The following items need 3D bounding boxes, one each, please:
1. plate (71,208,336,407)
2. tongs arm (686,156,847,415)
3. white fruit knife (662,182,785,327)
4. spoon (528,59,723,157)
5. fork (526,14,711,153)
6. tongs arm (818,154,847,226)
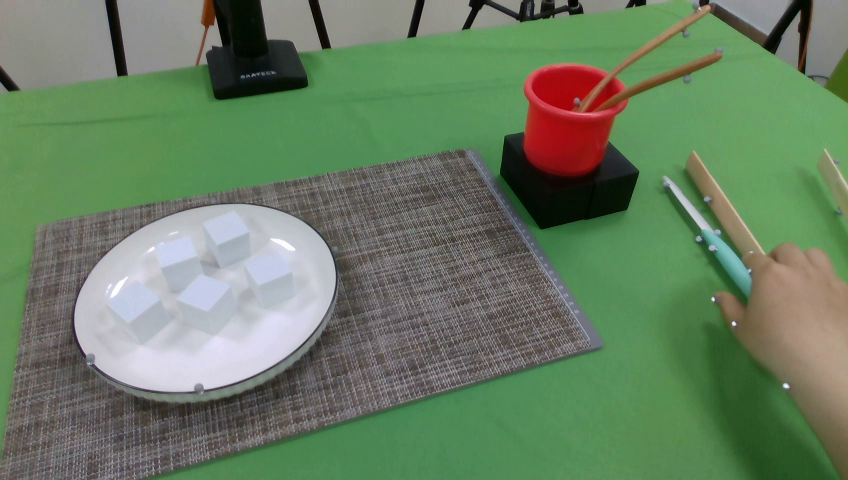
[{"bbox_3d":[-0.178,0.054,0.511,0.208,0.039,0.205,1,44,-1],"label":"plate"},{"bbox_3d":[0.327,0.045,0.551,0.028,0.028,0.383,-2,44,-8],"label":"tongs arm"},{"bbox_3d":[0.287,0.004,0.603,0.027,0.016,0.205,16,35,-28],"label":"white fruit knife"},{"bbox_3d":[0.174,-0.116,0.551,0.022,0.193,0.041,53,47,-9],"label":"spoon"},{"bbox_3d":[0.186,-0.149,0.588,0.207,0.019,0.028,-40,22,14],"label":"fork"},{"bbox_3d":[0.407,0.044,0.549,0.051,0.027,0.381,4,45,4],"label":"tongs arm"}]
